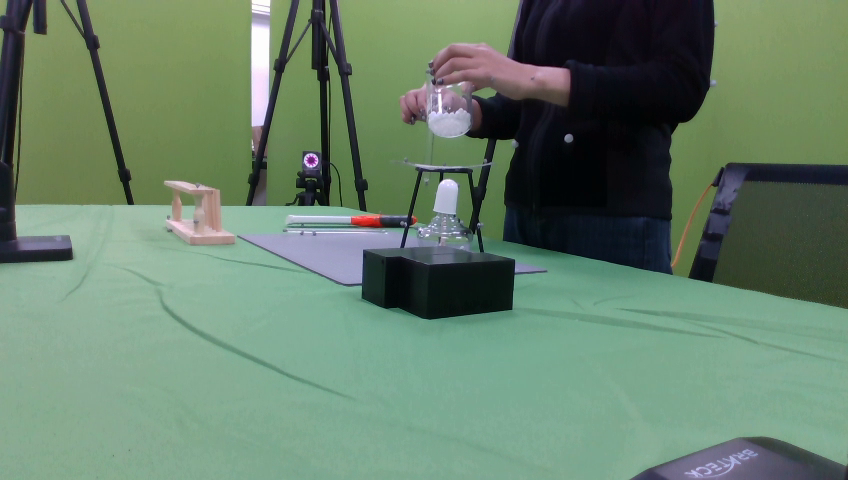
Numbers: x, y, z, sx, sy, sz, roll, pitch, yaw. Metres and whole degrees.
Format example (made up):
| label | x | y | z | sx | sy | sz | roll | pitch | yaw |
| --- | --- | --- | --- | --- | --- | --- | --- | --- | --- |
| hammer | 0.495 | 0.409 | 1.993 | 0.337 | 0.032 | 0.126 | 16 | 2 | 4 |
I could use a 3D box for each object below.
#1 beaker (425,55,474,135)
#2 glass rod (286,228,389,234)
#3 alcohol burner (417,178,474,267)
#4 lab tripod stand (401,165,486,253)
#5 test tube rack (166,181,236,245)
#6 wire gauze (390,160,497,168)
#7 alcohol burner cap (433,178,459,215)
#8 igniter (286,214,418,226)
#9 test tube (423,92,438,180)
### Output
| label | x | y | z | sx | sy | sz | roll | pitch | yaw |
| --- | --- | --- | --- | --- | --- | --- | --- | --- | --- |
| beaker | 0.038 | -0.218 | 0.929 | 0.074 | 0.100 | 0.083 | 10 | -23 | -26 |
| glass rod | -0.154 | -0.016 | 1.101 | 0.201 | 0.008 | 0.008 | 1 | 6 | -31 |
| alcohol burner | 0.029 | -0.024 | 0.810 | 0.078 | 0.119 | 0.078 | 1 | 8 | 0 |
| lab tripod stand | 0.028 | -0.049 | 0.930 | 0.148 | 0.131 | 0.148 | 3 | 9 | 0 |
| test tube rack | -0.383 | -0.051 | 1.024 | 0.067 | 0.085 | 0.241 | -2 | 9 | -31 |
| wire gauze | 0.027 | -0.115 | 0.919 | 0.122 | 0.011 | 0.124 | -4 | 10 | -34 |
| alcohol burner cap | 0.031 | -0.059 | 0.806 | 0.034 | 0.048 | 0.034 | 9 | 10 | -1 |
| igniter | -0.145 | -0.043 | 1.263 | 0.278 | 0.025 | 0.057 | -1 | -2 | -24 |
| test tube | 0.009 | -0.172 | 1.014 | 0.017 | 0.150 | 0.017 | 4 | 25 | -2 |
